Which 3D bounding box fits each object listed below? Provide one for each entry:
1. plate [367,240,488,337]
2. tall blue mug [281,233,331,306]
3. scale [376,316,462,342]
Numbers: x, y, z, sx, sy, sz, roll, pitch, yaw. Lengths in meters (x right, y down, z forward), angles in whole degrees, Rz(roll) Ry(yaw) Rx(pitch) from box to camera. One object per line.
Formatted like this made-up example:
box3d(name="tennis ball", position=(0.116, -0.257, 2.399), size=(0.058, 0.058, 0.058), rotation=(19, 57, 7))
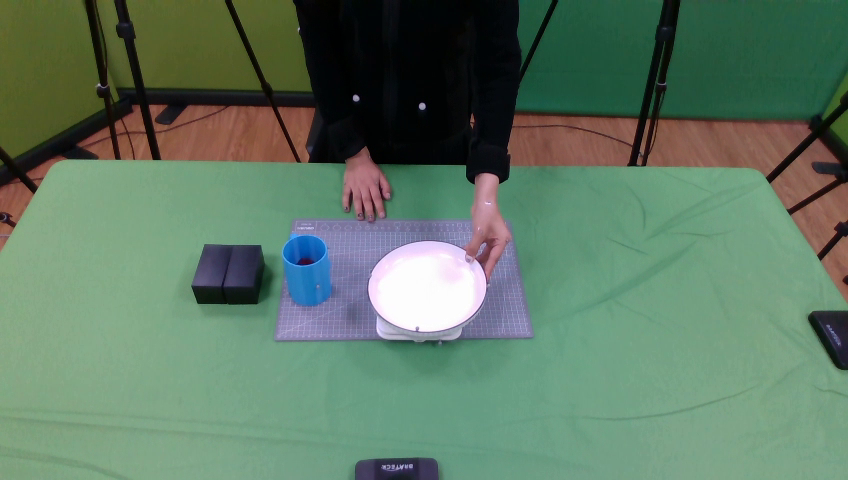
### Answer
box3d(name="plate", position=(0.006, 0.086, 1.051), size=(0.209, 0.038, 0.208), rotation=(-2, 47, 2))
box3d(name="tall blue mug", position=(-0.219, 0.046, 1.073), size=(0.107, 0.108, 0.077), rotation=(28, 52, 21))
box3d(name="scale", position=(-0.010, 0.096, 1.094), size=(0.149, 0.032, 0.199), rotation=(2, 46, -3))
